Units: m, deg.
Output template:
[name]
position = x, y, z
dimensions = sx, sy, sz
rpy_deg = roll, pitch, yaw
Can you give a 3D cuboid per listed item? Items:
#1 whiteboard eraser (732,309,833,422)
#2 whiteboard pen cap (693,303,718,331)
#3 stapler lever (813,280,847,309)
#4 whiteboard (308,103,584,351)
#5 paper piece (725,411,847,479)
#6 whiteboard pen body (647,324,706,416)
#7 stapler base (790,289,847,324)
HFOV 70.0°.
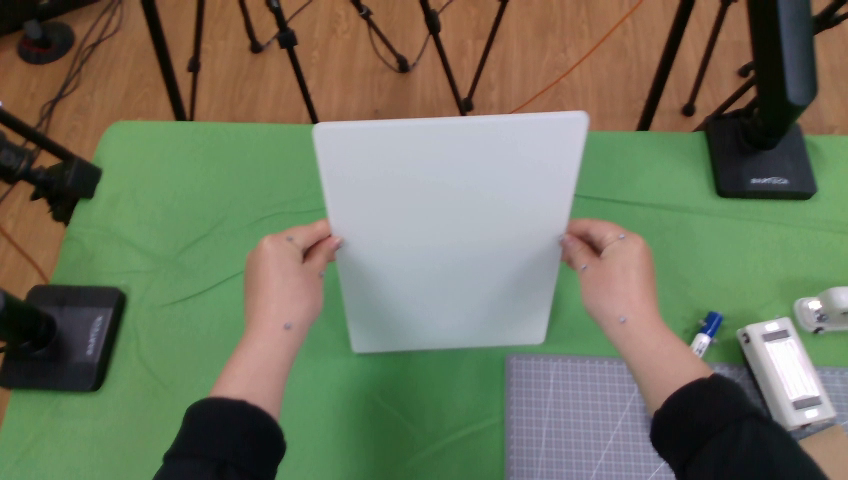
[whiteboard eraser]
position = 0.376, 0.132, 0.642
dimensions = 0.055, 0.042, 0.111
rpy_deg = -12, 64, -3
[whiteboard pen cap]
position = 0.315, 0.088, 0.678
dimensions = 0.018, 0.018, 0.033
rpy_deg = 33, 68, 16
[stapler lever]
position = 0.487, 0.059, 0.662
dimensions = 0.118, 0.040, 0.026
rpy_deg = -3, 67, -1
[whiteboard]
position = 0.020, -0.037, 0.620
dimensions = 0.217, 0.308, 0.142
rpy_deg = -2, 45, 0
[paper piece]
position = 0.393, 0.260, 0.601
dimensions = 0.136, 0.009, 0.137
rpy_deg = -20, 68, -3
[whiteboard pen body]
position = 0.280, 0.130, 0.659
dimensions = 0.017, 0.017, 0.140
rpy_deg = 33, 70, 16
[stapler base]
position = 0.486, 0.070, 0.684
dimensions = 0.131, 0.024, 0.041
rpy_deg = -3, 67, -2
